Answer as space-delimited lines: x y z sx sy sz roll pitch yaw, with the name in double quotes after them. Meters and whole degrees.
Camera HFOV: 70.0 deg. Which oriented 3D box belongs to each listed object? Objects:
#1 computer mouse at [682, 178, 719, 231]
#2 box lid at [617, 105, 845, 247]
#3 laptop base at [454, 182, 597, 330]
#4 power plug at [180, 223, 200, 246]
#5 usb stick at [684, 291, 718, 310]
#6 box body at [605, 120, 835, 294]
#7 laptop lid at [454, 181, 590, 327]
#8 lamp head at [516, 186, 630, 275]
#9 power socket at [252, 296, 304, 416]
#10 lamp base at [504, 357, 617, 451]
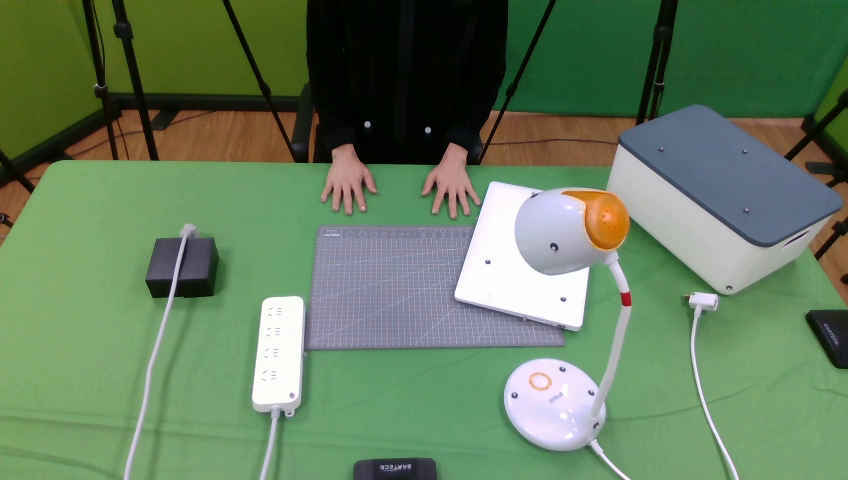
0.596 -0.078 1.289 0.117 0.041 0.062 56 44 -8 "computer mouse"
0.586 -0.138 1.176 0.263 0.015 0.369 -22 51 -23 "box lid"
0.211 0.018 1.202 0.235 0.023 0.352 11 46 10 "laptop base"
-0.450 -0.005 1.137 0.035 0.053 0.072 24 31 1 "power plug"
0.509 0.111 1.121 0.059 0.021 0.027 6 54 46 "usb stick"
0.582 -0.088 1.230 0.254 0.161 0.361 -22 52 -23 "box body"
0.210 0.010 1.193 0.241 0.013 0.355 13 46 11 "laptop lid"
0.188 -0.013 0.728 0.112 0.112 0.122 -25 9 -25 "lamp head"
-0.238 0.181 0.997 0.072 0.033 0.225 -3 47 -5 "power socket"
0.220 0.211 0.903 0.160 0.181 0.178 -33 59 -30 "lamp base"
